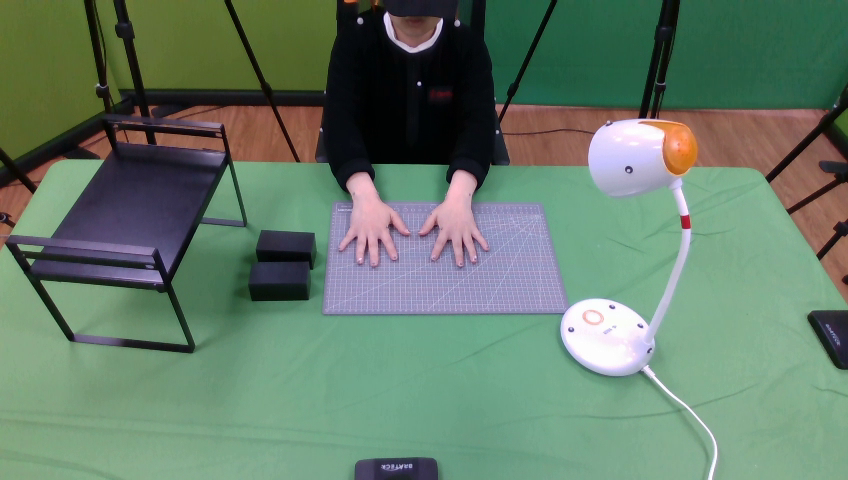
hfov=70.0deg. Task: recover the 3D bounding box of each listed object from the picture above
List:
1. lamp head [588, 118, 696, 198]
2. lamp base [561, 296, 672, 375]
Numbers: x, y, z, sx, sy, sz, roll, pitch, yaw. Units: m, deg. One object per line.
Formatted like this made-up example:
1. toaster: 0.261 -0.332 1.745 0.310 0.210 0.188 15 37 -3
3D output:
1. lamp head: 0.304 -0.113 0.823 0.112 0.112 0.122 -26 16 -26
2. lamp base: 0.332 0.119 0.996 0.160 0.181 0.178 -34 59 -31
